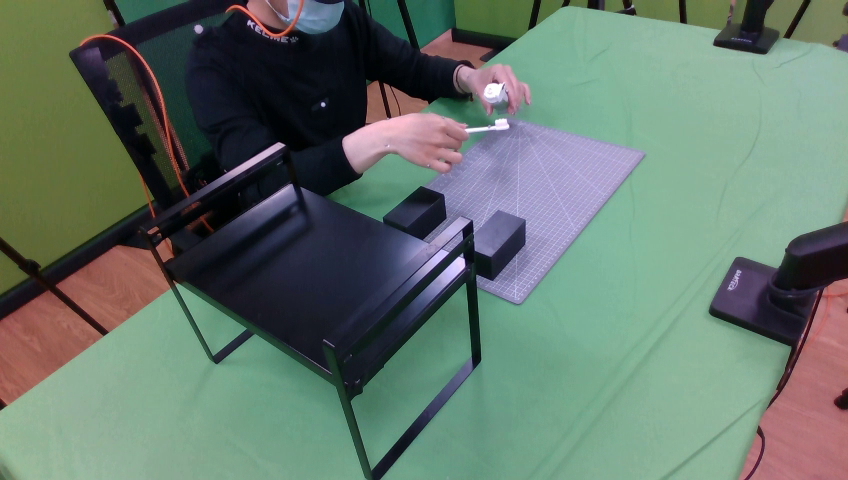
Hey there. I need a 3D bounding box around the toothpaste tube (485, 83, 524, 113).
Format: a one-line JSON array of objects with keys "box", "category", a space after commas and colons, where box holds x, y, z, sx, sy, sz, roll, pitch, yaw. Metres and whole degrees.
[{"box": [0.150, -0.267, 1.153, 0.055, 0.034, 0.166, -3, -2, 20], "category": "toothpaste tube"}]

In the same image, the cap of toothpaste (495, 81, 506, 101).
[{"box": [0.135, -0.263, 1.063, 0.011, 0.037, 0.037, 20, 46, 13], "category": "cap of toothpaste"}]

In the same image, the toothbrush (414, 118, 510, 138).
[{"box": [0.061, -0.190, 1.036, 0.181, 0.017, 0.014, -2, 45, 29], "category": "toothbrush"}]
